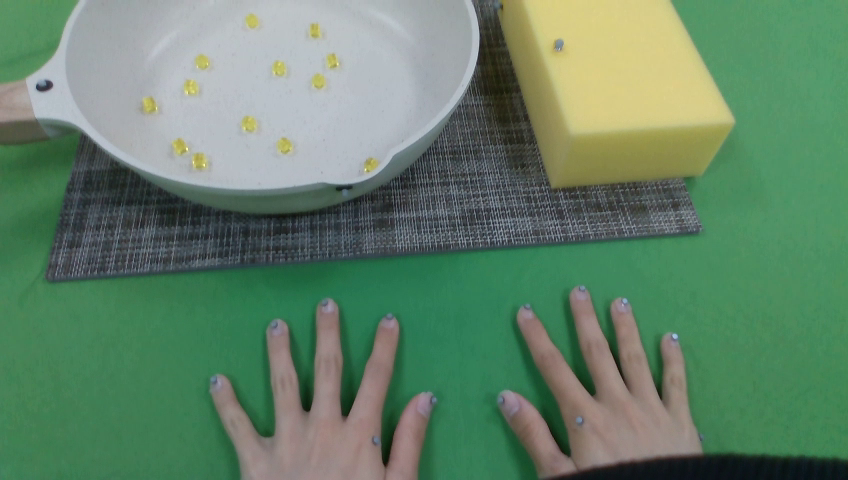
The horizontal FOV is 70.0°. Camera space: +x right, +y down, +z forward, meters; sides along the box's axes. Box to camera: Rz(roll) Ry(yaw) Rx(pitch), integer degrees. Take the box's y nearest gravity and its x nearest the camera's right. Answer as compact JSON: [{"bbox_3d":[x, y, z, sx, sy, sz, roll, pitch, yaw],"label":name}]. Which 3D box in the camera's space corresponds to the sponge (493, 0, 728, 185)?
[{"bbox_3d":[0.136,-0.146,0.483,0.118,0.061,0.204,-6,58,-7],"label":"sponge"}]

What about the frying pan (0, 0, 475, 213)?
[{"bbox_3d":[-0.201,-0.106,0.418,0.489,0.103,0.303,-18,59,-23],"label":"frying pan"}]
